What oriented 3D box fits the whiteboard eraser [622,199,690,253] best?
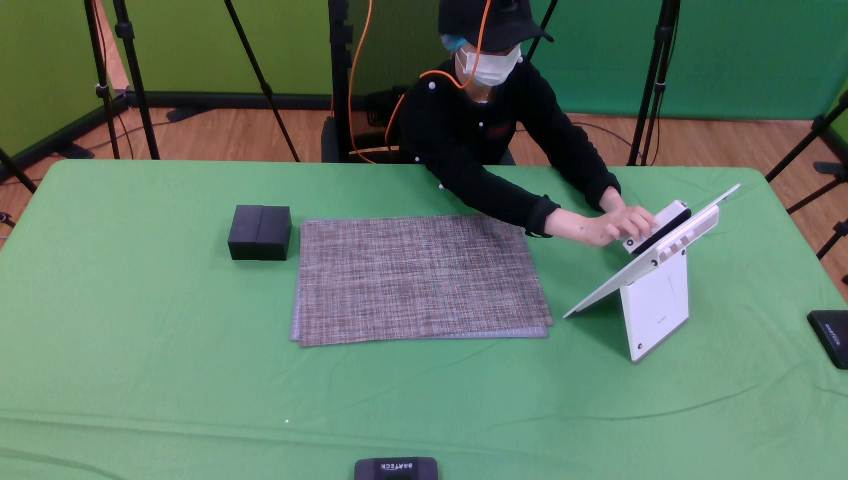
[{"bbox_3d":[0.380,-0.019,0.989,0.041,0.113,0.056,52,24,13],"label":"whiteboard eraser"}]

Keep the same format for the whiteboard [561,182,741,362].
[{"bbox_3d":[0.407,0.076,1.001,0.217,0.306,0.143,-28,73,-28],"label":"whiteboard"}]
